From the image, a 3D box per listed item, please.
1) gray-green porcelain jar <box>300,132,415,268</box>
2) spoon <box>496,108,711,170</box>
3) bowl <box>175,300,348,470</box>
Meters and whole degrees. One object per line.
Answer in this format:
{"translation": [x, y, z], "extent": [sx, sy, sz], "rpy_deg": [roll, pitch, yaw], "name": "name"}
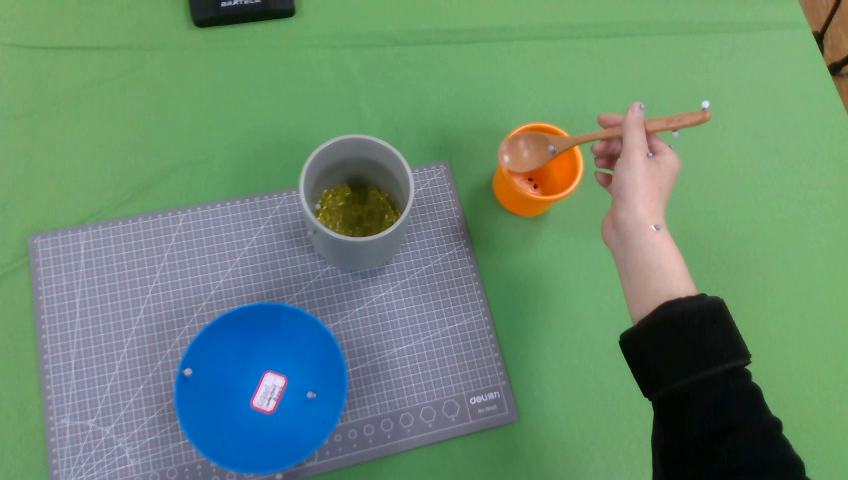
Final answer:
{"translation": [-0.067, -0.033, 0.608], "extent": [0.106, 0.127, 0.105], "rpy_deg": [2, 73, -6], "name": "gray-green porcelain jar"}
{"translation": [0.153, -0.094, 0.546], "extent": [0.193, 0.022, 0.041], "rpy_deg": [-5, 79, 37], "name": "spoon"}
{"translation": [-0.147, 0.137, 0.574], "extent": [0.152, 0.077, 0.150], "rpy_deg": [2, 73, -7], "name": "bowl"}
